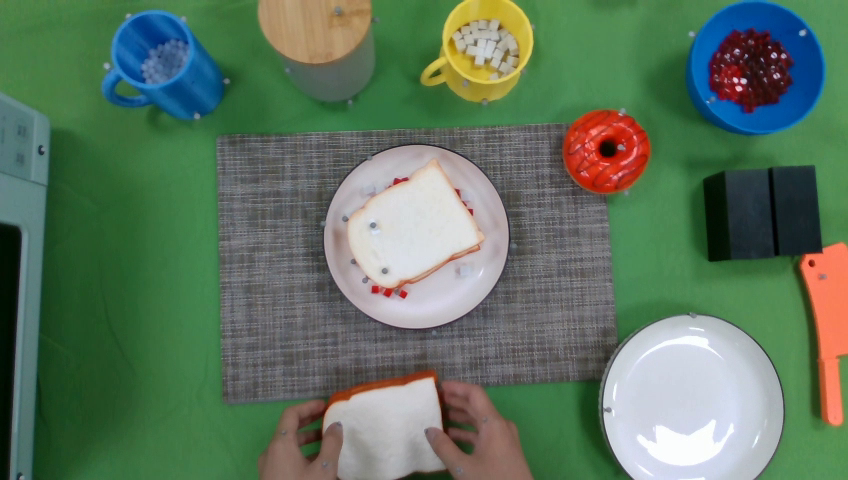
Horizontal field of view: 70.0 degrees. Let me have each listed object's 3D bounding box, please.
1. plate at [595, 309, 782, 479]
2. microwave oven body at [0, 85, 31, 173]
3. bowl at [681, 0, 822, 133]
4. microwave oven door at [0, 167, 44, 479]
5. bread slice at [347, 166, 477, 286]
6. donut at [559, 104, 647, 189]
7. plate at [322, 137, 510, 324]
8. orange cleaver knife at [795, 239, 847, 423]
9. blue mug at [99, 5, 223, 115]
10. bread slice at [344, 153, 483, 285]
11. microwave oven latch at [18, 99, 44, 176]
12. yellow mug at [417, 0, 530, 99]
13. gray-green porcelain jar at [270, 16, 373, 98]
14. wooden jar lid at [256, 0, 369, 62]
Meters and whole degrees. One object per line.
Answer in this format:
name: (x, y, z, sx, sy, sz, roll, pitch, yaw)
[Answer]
plate: (0.293, 0.182, 0.684, 0.209, 0.038, 0.208, 0, 86, -2)
microwave oven body: (-0.577, 0.056, 0.540, 0.326, 0.260, 0.441, 1, 86, -3)
bowl: (0.357, -0.189, 0.693, 0.151, 0.077, 0.151, 0, 86, -2)
microwave oven door: (-0.431, 0.100, 0.538, 0.039, 0.244, 0.355, 0, 85, -2)
bread slice: (-0.018, -0.008, 0.683, 0.131, 0.019, 0.105, -30, 89, -6)
donut: (0.204, -0.106, 0.694, 0.099, 0.048, 0.099, 0, 86, -3)
plate: (-0.009, -0.010, 0.681, 0.208, 0.039, 0.207, 0, 86, -2)
orange cleaver knife: (0.477, 0.104, 0.707, 0.077, 0.012, 0.211, -2, 85, -9)
blue mug: (-0.288, -0.182, 0.651, 0.116, 0.106, 0.082, -28, 87, -4)
bread slice: (-0.017, -0.014, 0.655, 0.134, 0.018, 0.106, -34, 85, -5)
microwave oven latch: (-0.432, -0.111, 0.655, 0.030, 0.029, 0.079, 3, 86, -3)
yellow mug: (0.051, -0.213, 0.688, 0.131, 0.064, 0.100, -26, 87, -3)
gray-green porcelain jar: (-0.109, -0.218, 0.651, 0.106, 0.126, 0.105, 0, 85, -2)
wooden jar lid: (-0.107, -0.223, 0.589, 0.108, 0.021, 0.108, 0, 84, -2)
